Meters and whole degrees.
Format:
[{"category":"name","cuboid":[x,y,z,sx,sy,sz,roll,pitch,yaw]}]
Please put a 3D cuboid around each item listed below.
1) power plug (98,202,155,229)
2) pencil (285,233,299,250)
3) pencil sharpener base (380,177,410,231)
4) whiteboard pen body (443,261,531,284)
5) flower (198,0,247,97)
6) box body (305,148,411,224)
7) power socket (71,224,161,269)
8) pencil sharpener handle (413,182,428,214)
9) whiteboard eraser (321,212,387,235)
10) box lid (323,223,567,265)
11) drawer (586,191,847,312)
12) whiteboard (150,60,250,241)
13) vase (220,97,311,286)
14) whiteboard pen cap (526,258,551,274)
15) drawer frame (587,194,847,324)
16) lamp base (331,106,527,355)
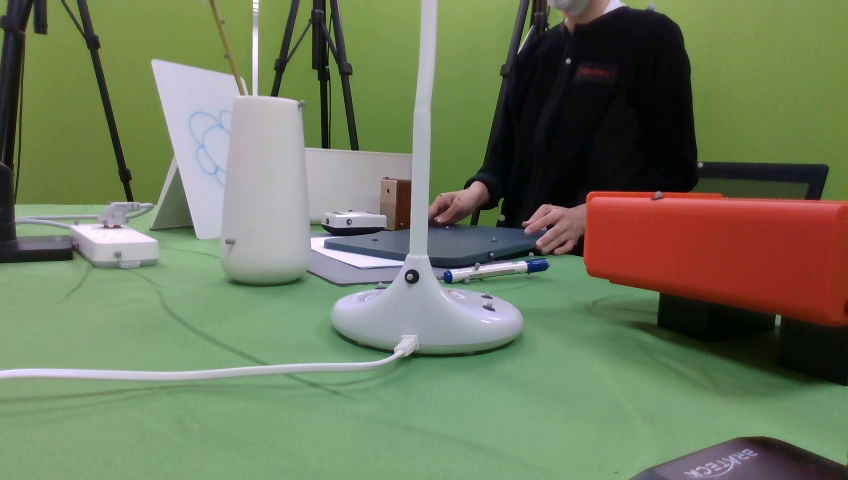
[{"category":"power plug","cuboid":[-0.416,-0.027,0.848,0.073,0.052,0.035,0,8,-28]},{"category":"pencil","cuboid":[-0.209,0.000,0.969,0.012,0.012,0.193,1,6,-8]},{"category":"pencil sharpener base","cuboid":[-0.042,-0.071,1.222,0.077,0.107,0.061,-2,8,-37]},{"category":"whiteboard pen body","cuboid":[0.087,0.038,0.733,0.141,0.017,0.017,-5,10,-27]},{"category":"flower","cuboid":[-0.187,-0.133,0.648,0.038,0.362,0.044,-1,22,43]},{"category":"box body","cuboid":[-0.230,-0.126,1.371,0.366,0.160,0.253,-2,8,-33]},{"category":"power socket","cuboid":[-0.408,0.004,0.793,0.072,0.032,0.225,-2,8,-38]},{"category":"pencil sharpener handle","cuboid":[-0.003,-0.086,1.254,0.031,0.067,0.036,-2,19,-37]},{"category":"whiteboard eraser","cuboid":[-0.128,-0.031,1.108,0.113,0.042,0.055,-3,7,-38]},{"category":"box lid","cuboid":[0.046,0.002,0.993,0.262,0.015,0.373,6,9,37]},{"category":"drawer","cuboid":[0.281,0.001,0.513,0.195,0.073,0.210,-1,8,-29]},{"category":"whiteboard","cuboid":[-0.408,-0.139,1.093,0.143,0.305,0.218,-15,-1,26]},{"category":"vase","cuboid":[-0.172,-0.052,0.662,0.098,0.200,0.098,3,8,0]},{"category":"whiteboard pen cap","cuboid":[0.141,0.033,0.759,0.033,0.018,0.018,-7,11,-26]},{"category":"drawer frame","cuboid":[0.286,0.004,0.508,0.203,0.082,0.212,-1,6,-30]},{"category":"lamp base","cuboid":[0.006,-0.012,0.478,0.161,0.180,0.179,2,10,2]}]
